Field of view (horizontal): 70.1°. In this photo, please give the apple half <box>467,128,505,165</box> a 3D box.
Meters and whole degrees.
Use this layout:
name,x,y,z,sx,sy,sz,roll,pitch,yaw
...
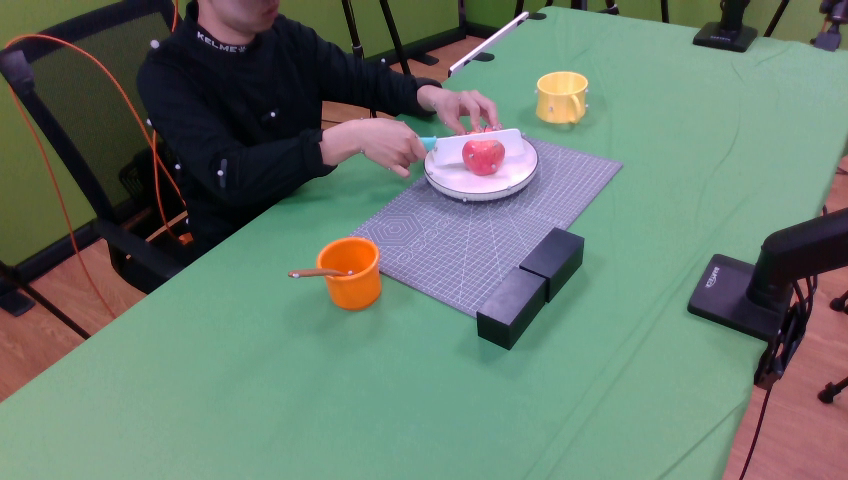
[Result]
name,x,y,z,sx,sy,sz,roll,pitch,yaw
apple half,0.110,-0.167,1.092,0.080,0.075,0.053,-4,35,12

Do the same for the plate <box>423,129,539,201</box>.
name,x,y,z,sx,sy,sz,roll,pitch,yaw
plate,0.102,-0.132,1.092,0.209,0.038,0.208,-4,40,4

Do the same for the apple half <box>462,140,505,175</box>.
name,x,y,z,sx,sy,sz,roll,pitch,yaw
apple half,0.105,-0.139,1.060,0.081,0.081,0.032,-1,44,8

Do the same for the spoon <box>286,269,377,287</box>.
name,x,y,z,sx,sy,sz,roll,pitch,yaw
spoon,-0.125,0.049,0.831,0.041,0.195,0.021,22,92,28

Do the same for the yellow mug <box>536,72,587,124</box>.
name,x,y,z,sx,sy,sz,roll,pitch,yaw
yellow mug,0.285,-0.281,1.222,0.100,0.064,0.130,-16,42,-9

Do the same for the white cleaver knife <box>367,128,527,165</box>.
name,x,y,z,sx,sy,sz,roll,pitch,yaw
white cleaver knife,0.037,-0.158,1.068,0.286,0.066,0.021,-3,44,12
